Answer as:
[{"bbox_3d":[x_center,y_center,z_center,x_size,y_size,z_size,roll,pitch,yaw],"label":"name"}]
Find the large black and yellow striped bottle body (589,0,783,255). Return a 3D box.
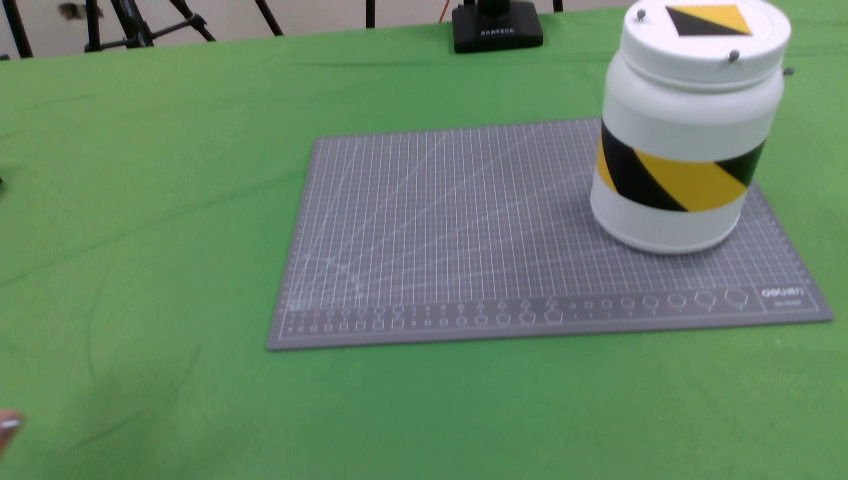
[{"bbox_3d":[0.212,-0.092,0.504,0.131,0.186,0.129,-4,45,4],"label":"large black and yellow striped bottle body"}]

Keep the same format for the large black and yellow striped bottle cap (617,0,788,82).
[{"bbox_3d":[0.202,-0.152,0.445,0.115,0.019,0.114,-3,44,3],"label":"large black and yellow striped bottle cap"}]
